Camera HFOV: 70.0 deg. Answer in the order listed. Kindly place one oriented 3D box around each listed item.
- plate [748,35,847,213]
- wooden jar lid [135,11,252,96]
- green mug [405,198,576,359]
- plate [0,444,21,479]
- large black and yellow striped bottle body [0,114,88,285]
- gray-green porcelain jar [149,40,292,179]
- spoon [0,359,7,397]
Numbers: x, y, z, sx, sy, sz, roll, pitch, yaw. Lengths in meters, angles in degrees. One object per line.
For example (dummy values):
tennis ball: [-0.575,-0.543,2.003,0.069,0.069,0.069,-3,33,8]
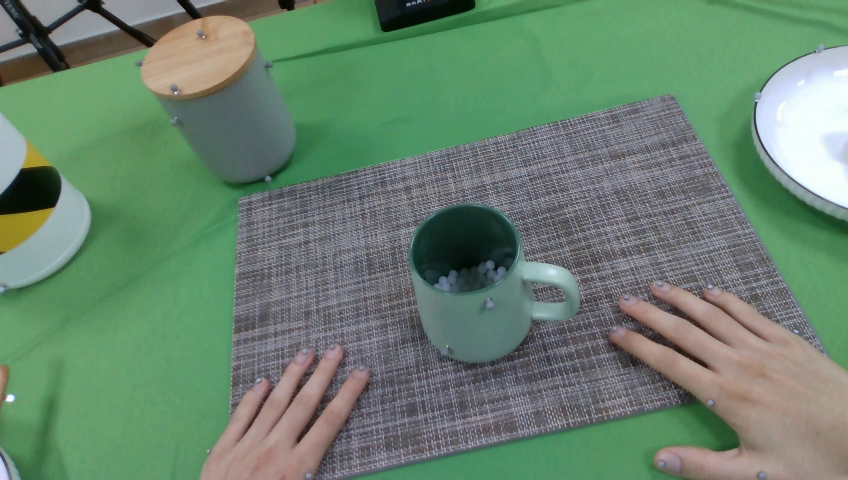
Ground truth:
plate: [0.388,-0.095,0.517,0.207,0.039,0.205,-5,55,8]
wooden jar lid: [-0.209,-0.168,0.556,0.108,0.021,0.107,-4,58,8]
green mug: [0.050,0.032,0.453,0.125,0.106,0.092,6,57,15]
plate: [-0.389,0.241,0.443,0.209,0.038,0.207,-5,55,8]
large black and yellow striped bottle body: [-0.427,-0.055,0.562,0.130,0.186,0.129,-5,55,8]
gray-green porcelain jar: [-0.198,-0.132,0.606,0.106,0.128,0.105,-5,55,8]
spoon: [-0.337,0.180,0.455,0.041,0.022,0.192,-11,63,2]
